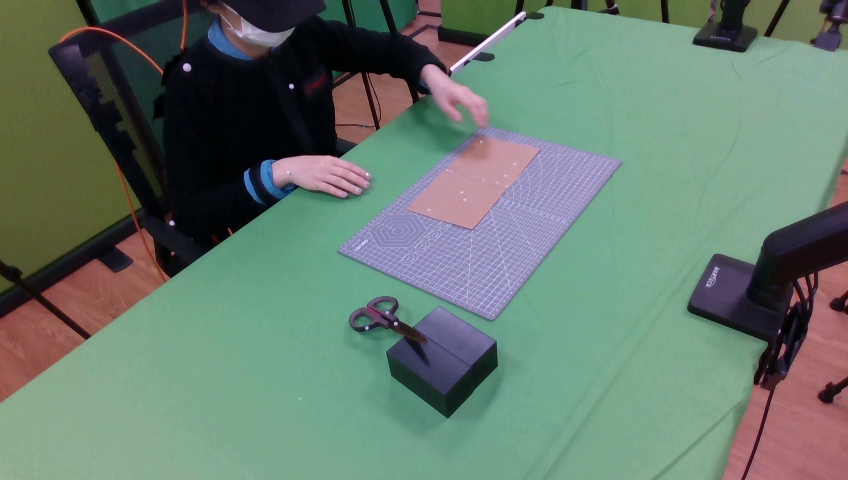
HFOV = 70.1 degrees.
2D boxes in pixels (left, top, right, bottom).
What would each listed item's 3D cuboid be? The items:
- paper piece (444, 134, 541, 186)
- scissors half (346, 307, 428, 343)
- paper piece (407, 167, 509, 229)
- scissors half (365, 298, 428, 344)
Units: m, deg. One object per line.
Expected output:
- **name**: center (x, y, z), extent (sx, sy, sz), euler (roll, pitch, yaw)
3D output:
- **paper piece**: center (0.130, -0.155, 1.137), extent (0.135, 0.009, 0.138), euler (22, 48, 25)
- **scissors half**: center (-0.051, 0.115, 0.799), extent (0.040, 0.013, 0.174), euler (-29, 23, -36)
- **paper piece**: center (0.059, -0.077, 1.055), extent (0.134, 0.004, 0.136), euler (20, 48, 27)
- **scissors half**: center (-0.035, 0.107, 0.808), extent (0.040, 0.013, 0.174), euler (-26, 22, -18)
